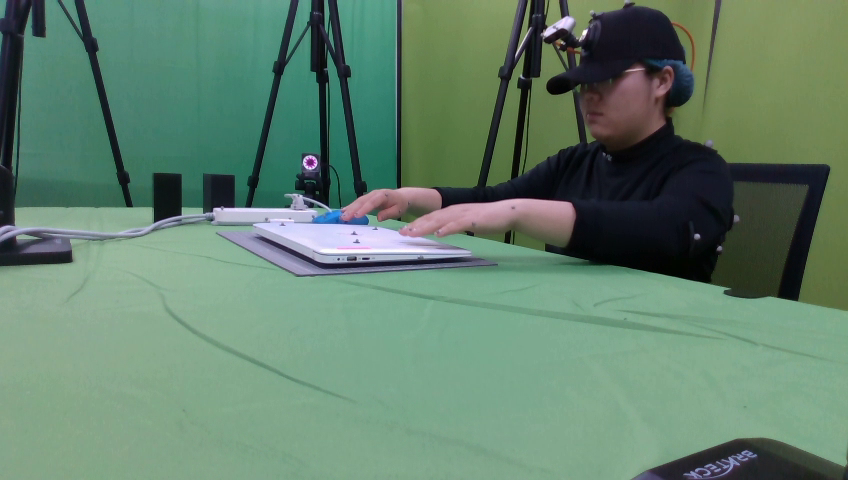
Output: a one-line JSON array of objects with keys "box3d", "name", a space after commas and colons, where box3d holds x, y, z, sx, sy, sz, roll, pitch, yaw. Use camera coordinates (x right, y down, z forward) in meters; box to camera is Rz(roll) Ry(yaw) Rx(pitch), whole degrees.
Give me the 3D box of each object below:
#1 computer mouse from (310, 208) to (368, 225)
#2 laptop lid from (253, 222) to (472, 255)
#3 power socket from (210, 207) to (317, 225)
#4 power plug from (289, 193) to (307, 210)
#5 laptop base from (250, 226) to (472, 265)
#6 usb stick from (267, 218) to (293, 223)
[{"box3d": [-0.179, -0.045, 1.274, 0.118, 0.041, 0.062, -6, 13, -29], "name": "computer mouse"}, {"box3d": [-0.113, -0.005, 0.955, 0.243, 0.013, 0.355, 1, 7, -29], "name": "laptop lid"}, {"box3d": [-0.334, -0.051, 1.282, 0.228, 0.032, 0.072, -1, 9, -28], "name": "power socket"}, {"box3d": [-0.281, -0.076, 1.340, 0.035, 0.052, 0.072, 4, 5, -17], "name": "power plug"}, {"box3d": [-0.115, 0.007, 0.955, 0.237, 0.023, 0.352, 2, 6, -30], "name": "laptop base"}, {"box3d": [-0.272, -0.026, 1.107, 0.059, 0.027, 0.021, -4, 12, -27], "name": "usb stick"}]
